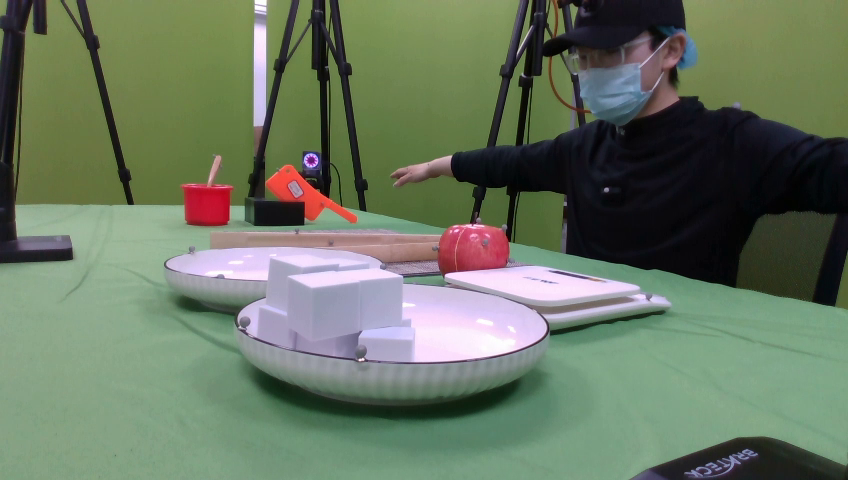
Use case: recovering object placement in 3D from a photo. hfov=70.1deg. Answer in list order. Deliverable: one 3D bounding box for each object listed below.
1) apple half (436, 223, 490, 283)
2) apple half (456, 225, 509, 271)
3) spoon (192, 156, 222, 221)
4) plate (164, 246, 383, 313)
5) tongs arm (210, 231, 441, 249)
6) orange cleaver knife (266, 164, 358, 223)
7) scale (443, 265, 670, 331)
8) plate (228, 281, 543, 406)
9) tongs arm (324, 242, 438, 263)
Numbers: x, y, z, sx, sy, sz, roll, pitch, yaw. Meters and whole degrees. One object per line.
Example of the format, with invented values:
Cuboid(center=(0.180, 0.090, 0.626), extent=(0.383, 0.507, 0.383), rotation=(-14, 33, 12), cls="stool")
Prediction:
Cuboid(center=(0.045, 0.017, 0.691), extent=(0.081, 0.074, 0.053), rotation=(-9, 10, -41), cls="apple half")
Cuboid(center=(0.071, 0.021, 0.662), extent=(0.082, 0.081, 0.032), rotation=(-4, 7, -42), cls="apple half")
Cuboid(center=(-0.430, -0.108, 1.222), extent=(0.041, 0.021, 0.193), rotation=(-1, 52, 0), cls="spoon")
Cuboid(center=(-0.145, 0.038, 0.600), extent=(0.209, 0.038, 0.209), rotation=(2, 7, 0), cls="plate")
Cuboid(center=(-0.106, 0.004, 0.876), extent=(0.386, 0.026, 0.050), rotation=(0, 7, -20), cls="tongs arm")
Cuboid(center=(-0.238, -0.082, 1.295), extent=(0.212, 0.077, 0.012), rotation=(35, -9, -26), cls="orange cleaver knife")
Cuboid(center=(0.131, 0.052, 0.603), extent=(0.202, 0.031, 0.148), rotation=(-2, 9, -37), cls="scale")
Cuboid(center=(-0.025, 0.067, 0.413), extent=(0.208, 0.039, 0.207), rotation=(3, 7, 0), cls="plate")
Cuboid(center=(-0.070, 0.017, 0.800), extent=(0.390, 0.028, 0.028), rotation=(-2, 5, -34), cls="tongs arm")
